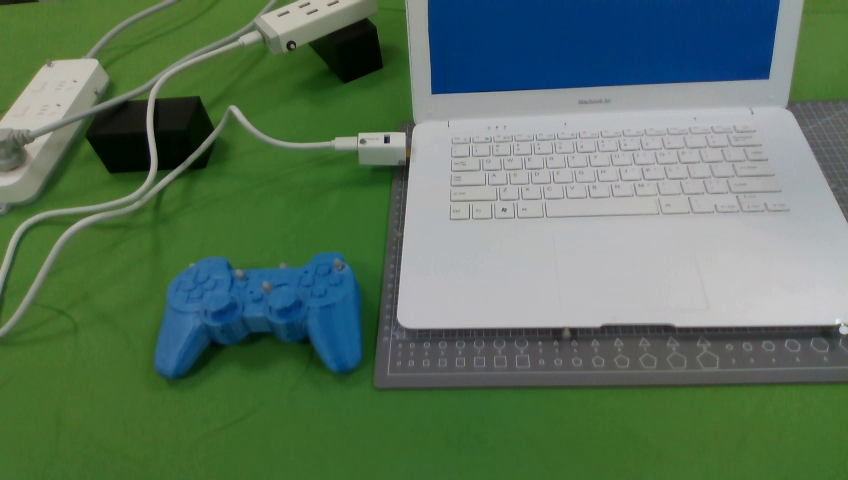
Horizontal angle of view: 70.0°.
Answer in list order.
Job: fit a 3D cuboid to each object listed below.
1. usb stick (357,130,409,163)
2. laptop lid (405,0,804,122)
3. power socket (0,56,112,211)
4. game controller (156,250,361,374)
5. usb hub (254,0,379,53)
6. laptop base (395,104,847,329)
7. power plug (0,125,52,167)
[{"bbox_3d":[-0.032,-0.087,0.563,0.059,0.027,0.021,1,49,-3],"label":"usb stick"},{"bbox_3d":[0.157,-0.224,0.540,0.356,0.243,0.013,-3,22,5],"label":"laptop lid"},{"bbox_3d":[-0.407,-0.124,0.645,0.072,0.033,0.224,1,51,6],"label":"power socket"},{"bbox_3d":[-0.124,0.050,0.462,0.155,0.052,0.096,-1,46,4],"label":"game controller"},{"bbox_3d":[-0.114,-0.243,0.652,0.125,0.025,0.049,-30,55,-17],"label":"usb hub"},{"bbox_3d":[0.159,-0.026,0.511,0.354,0.023,0.233,-1,54,5],"label":"laptop base"},{"bbox_3d":[-0.384,-0.082,0.577,0.072,0.053,0.035,10,52,11],"label":"power plug"}]
